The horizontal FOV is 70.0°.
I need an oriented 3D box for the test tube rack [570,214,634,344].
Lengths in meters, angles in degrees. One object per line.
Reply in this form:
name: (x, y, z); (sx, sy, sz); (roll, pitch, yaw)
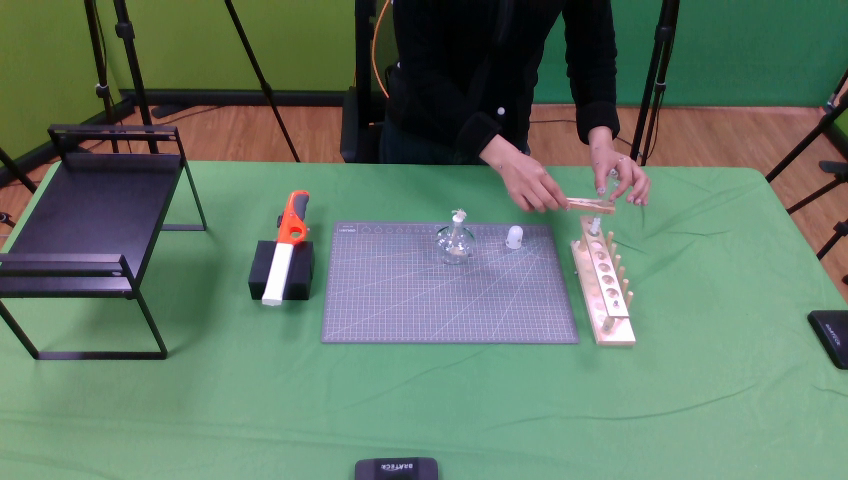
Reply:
test tube rack: (0.333, 0.067, 1.116); (0.067, 0.085, 0.241); (1, 46, -3)

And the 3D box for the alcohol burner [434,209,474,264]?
alcohol burner: (0.058, -0.011, 1.146); (0.078, 0.119, 0.077); (3, 44, -3)

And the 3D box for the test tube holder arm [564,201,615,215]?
test tube holder arm: (0.295, -0.059, 1.084); (0.088, 0.015, 0.010); (10, 55, 5)

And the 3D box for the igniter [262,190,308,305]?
igniter: (-0.252, 0.004, 1.107); (0.057, 0.025, 0.275); (7, 47, -6)

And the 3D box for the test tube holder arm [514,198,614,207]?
test tube holder arm: (0.251, -0.067, 1.089); (0.178, 0.015, 0.013); (2, 54, 0)

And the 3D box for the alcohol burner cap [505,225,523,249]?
alcohol burner cap: (0.180, -0.009, 1.203); (0.034, 0.048, 0.033); (2, 47, -2)

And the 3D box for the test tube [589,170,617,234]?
test tube: (0.318, -0.064, 1.080); (0.017, 0.151, 0.017); (1, 48, -1)
